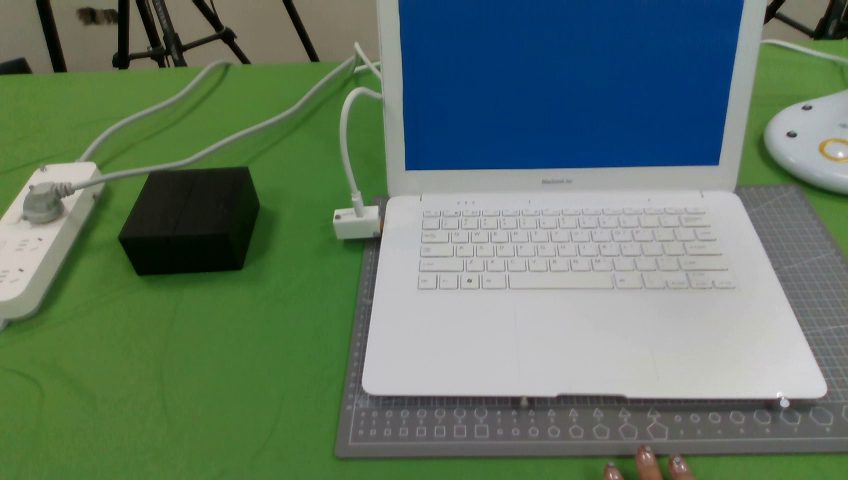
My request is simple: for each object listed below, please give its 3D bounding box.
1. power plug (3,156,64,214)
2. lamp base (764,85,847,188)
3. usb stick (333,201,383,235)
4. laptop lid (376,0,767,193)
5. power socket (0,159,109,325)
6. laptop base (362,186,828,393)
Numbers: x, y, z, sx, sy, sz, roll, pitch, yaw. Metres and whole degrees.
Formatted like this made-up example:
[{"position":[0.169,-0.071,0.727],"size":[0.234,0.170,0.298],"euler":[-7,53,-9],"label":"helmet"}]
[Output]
[{"position":[-0.383,-0.060,0.594],"size":[0.053,0.073,0.035],"euler":[11,26,-18],"label":"power plug"},{"position":[0.462,-0.171,0.617],"size":[0.159,0.182,0.179],"euler":[25,49,27],"label":"lamp base"},{"position":[-0.058,-0.022,0.598],"size":[0.059,0.027,0.021],"euler":[-2,43,3],"label":"usb stick"},{"position":[0.133,-0.154,0.579],"size":[0.356,0.243,0.013],"euler":[-2,23,4],"label":"laptop lid"},{"position":[-0.391,-0.011,0.616],"size":[0.072,0.033,0.224],"euler":[-2,43,0],"label":"power socket"},{"position":[0.132,0.036,0.542],"size":[0.354,0.023,0.233],"euler":[0,47,3],"label":"laptop base"}]
